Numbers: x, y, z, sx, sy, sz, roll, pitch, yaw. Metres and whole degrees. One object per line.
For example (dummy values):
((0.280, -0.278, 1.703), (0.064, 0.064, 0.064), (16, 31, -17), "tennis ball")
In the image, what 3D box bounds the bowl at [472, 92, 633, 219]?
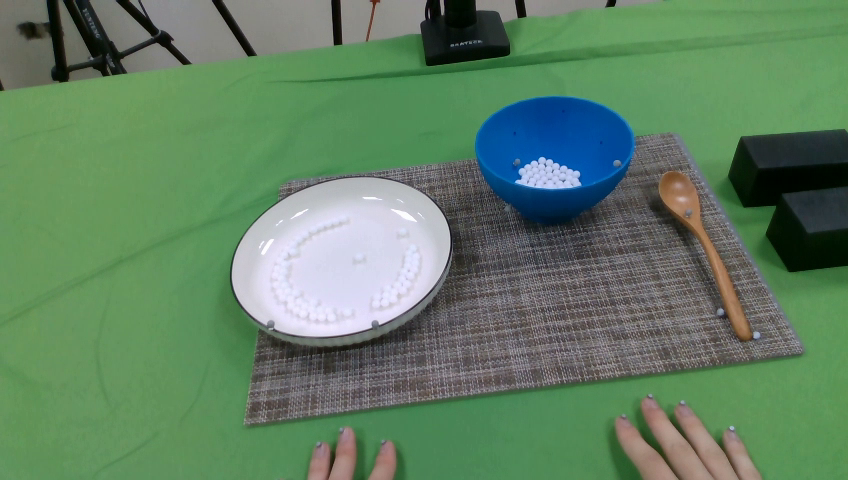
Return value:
((0.125, -0.074, 0.604), (0.151, 0.077, 0.150), (-4, 46, 4), "bowl")

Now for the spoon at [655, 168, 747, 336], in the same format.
((0.252, 0.003, 0.551), (0.042, 0.022, 0.191), (7, 45, -10), "spoon")

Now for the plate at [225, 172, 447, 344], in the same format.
((-0.080, 0.016, 0.576), (0.207, 0.039, 0.205), (-4, 46, 4), "plate")
